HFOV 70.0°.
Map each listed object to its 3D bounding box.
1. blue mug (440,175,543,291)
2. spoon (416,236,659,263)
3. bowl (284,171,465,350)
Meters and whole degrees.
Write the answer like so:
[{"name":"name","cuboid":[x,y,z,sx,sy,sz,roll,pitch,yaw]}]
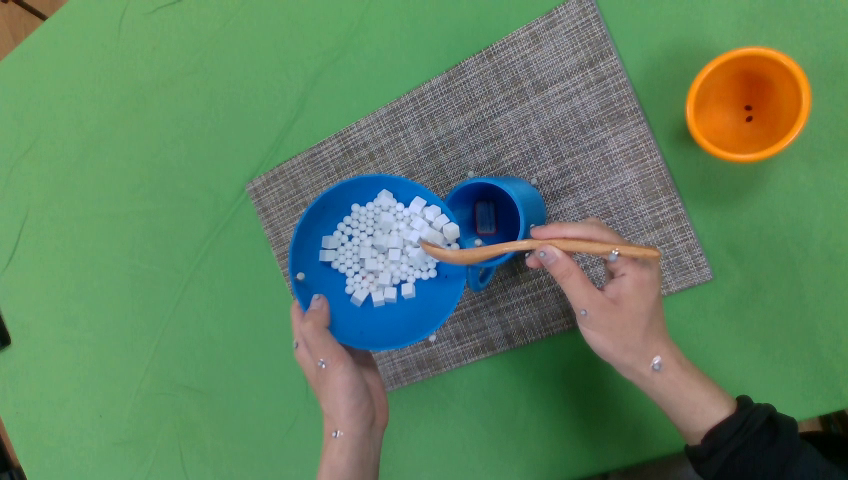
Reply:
[{"name":"blue mug","cuboid":[0.063,-0.006,0.593,0.082,0.106,0.117,17,103,18]},{"name":"spoon","cuboid":[0.076,0.006,0.459,0.193,0.042,0.021,-3,77,33]},{"name":"bowl","cuboid":[-0.044,0.022,0.537,0.152,0.077,0.151,1,81,-8]}]
